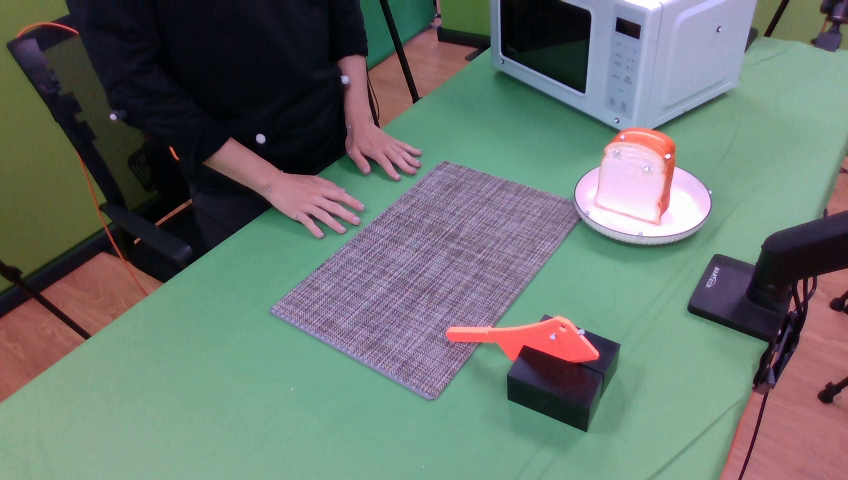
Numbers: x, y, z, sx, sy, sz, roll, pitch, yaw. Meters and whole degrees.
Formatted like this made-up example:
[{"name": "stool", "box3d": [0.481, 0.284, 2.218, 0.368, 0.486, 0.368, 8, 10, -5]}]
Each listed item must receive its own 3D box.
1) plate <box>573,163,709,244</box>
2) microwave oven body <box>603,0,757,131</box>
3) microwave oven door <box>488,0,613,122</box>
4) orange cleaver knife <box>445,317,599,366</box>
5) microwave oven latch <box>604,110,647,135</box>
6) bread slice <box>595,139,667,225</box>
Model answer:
[{"name": "plate", "box3d": [0.347, -0.059, 0.979, 0.207, 0.039, 0.206, -4, 41, 4]}, {"name": "microwave oven body", "box3d": [0.396, -0.448, 1.248, 0.327, 0.261, 0.437, -27, 44, -21]}, {"name": "microwave oven door", "box3d": [0.250, -0.412, 1.219, 0.039, 0.245, 0.352, -27, 44, -21]}, {"name": "orange cleaver knife", "box3d": [0.115, 0.129, 0.751, 0.210, 0.077, 0.012, -11, 30, 45]}, {"name": "microwave oven latch", "box3d": [0.378, -0.225, 1.139, 0.030, 0.029, 0.078, -27, 44, -20]}, {"name": "bread slice", "box3d": [0.321, -0.093, 0.936, 0.106, 0.135, 0.018, 17, 44, 31]}]
